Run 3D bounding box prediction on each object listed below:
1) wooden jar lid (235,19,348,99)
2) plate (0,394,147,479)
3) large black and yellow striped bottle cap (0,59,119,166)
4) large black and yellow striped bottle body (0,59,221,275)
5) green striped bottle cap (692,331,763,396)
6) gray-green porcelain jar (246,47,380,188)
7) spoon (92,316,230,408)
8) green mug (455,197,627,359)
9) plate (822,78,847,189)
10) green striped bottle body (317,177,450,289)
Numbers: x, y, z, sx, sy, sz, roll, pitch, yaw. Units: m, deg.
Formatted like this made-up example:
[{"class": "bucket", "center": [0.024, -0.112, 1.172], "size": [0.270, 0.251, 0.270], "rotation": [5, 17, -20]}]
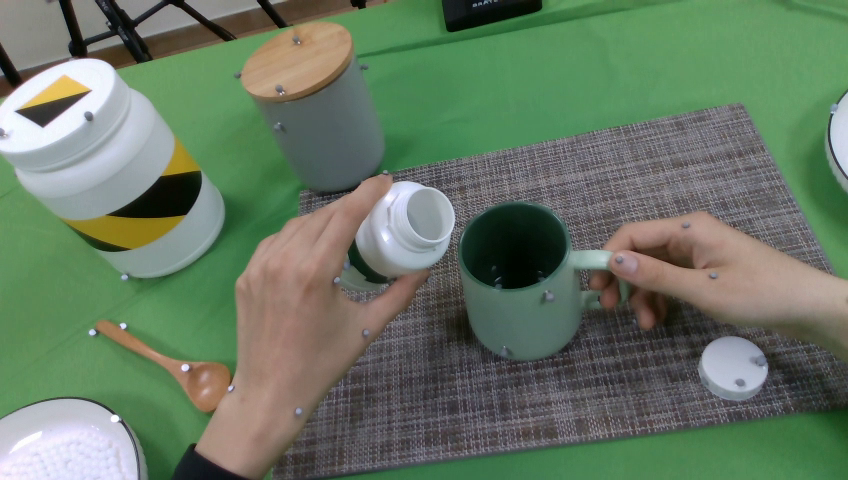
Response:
[{"class": "wooden jar lid", "center": [-0.119, -0.163, 0.556], "size": [0.108, 0.021, 0.107], "rotation": [-9, 52, 13]}, {"class": "plate", "center": [-0.307, 0.224, 0.469], "size": [0.209, 0.038, 0.207], "rotation": [-7, 54, 10]}, {"class": "large black and yellow striped bottle cap", "center": [-0.314, -0.110, 0.511], "size": [0.115, 0.019, 0.114], "rotation": [-7, 53, 9]}, {"class": "large black and yellow striped bottle body", "center": [-0.295, -0.064, 0.578], "size": [0.130, 0.186, 0.129], "rotation": [-7, 54, 10]}, {"class": "green striped bottle cap", "center": [0.218, 0.088, 0.437], "size": [0.044, 0.020, 0.044], "rotation": [-7, 49, 8]}, {"class": "gray-green porcelain jar", "center": [-0.106, -0.123, 0.604], "size": [0.106, 0.128, 0.105], "rotation": [-8, 50, 9]}, {"class": "spoon", "center": [-0.243, 0.101, 0.548], "size": [0.192, 0.022, 0.041], "rotation": [18, 81, 25]}, {"class": "green mug", "center": [0.087, 0.029, 0.455], "size": [0.125, 0.106, 0.091], "rotation": [-3, 54, 13]}, {"class": "plate", "center": [0.433, -0.074, 0.483], "size": [0.207, 0.039, 0.205], "rotation": [-7, 54, 10]}, {"class": "green striped bottle body", "center": [-0.028, -0.005, 0.440], "size": [0.119, 0.063, 0.063], "rotation": [-25, 34, 56]}]
